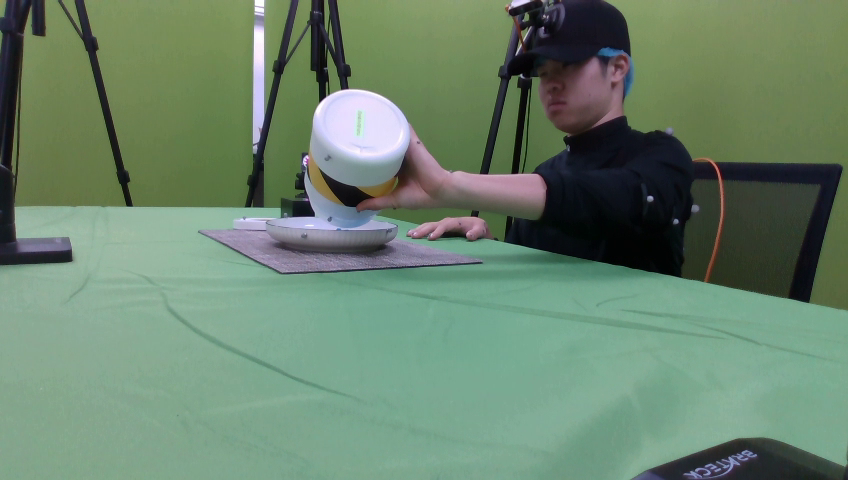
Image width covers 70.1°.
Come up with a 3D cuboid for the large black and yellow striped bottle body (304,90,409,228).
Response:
[{"bbox_3d":[-0.104,-0.109,0.871,0.131,0.130,0.183,0,-30,-17],"label":"large black and yellow striped bottle body"}]

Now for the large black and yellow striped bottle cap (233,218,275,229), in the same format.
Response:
[{"bbox_3d":[-0.311,-0.032,1.172,0.115,0.019,0.115,1,4,0],"label":"large black and yellow striped bottle cap"}]

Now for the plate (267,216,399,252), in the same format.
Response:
[{"bbox_3d":[-0.145,-0.010,0.967,0.208,0.039,0.207,2,7,0],"label":"plate"}]
